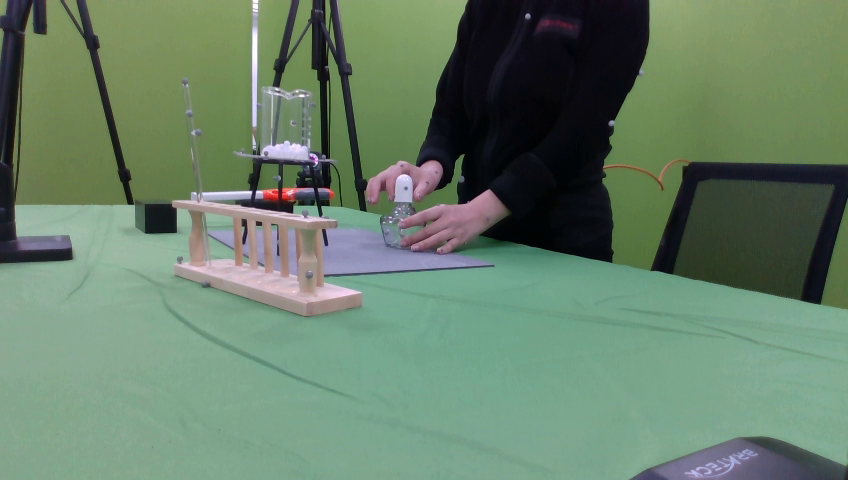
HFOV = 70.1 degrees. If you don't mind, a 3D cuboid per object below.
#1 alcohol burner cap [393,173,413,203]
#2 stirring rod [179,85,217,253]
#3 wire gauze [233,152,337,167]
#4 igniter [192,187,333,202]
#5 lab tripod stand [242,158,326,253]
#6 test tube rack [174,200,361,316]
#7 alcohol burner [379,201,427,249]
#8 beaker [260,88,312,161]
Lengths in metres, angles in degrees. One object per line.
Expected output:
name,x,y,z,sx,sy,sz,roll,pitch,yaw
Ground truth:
alcohol burner cap,-0.033,-0.083,0.969,0.034,0.048,0.034,1,2,0
stirring rod,-0.236,-0.073,0.634,0.006,0.176,0.014,0,10,42
wire gauze,-0.205,-0.119,0.887,0.122,0.011,0.124,2,4,-32
igniter,-0.316,-0.090,1.214,0.278,0.025,0.057,-5,12,-31
lab tripod stand,-0.207,-0.054,0.895,0.148,0.131,0.148,3,5,0
test tube rack,-0.169,0.009,0.622,0.241,0.085,0.067,9,9,41
alcohol burner,-0.034,-0.046,0.974,0.078,0.119,0.078,1,6,0
beaker,-0.201,-0.166,0.876,0.074,0.100,0.083,1,7,-18
